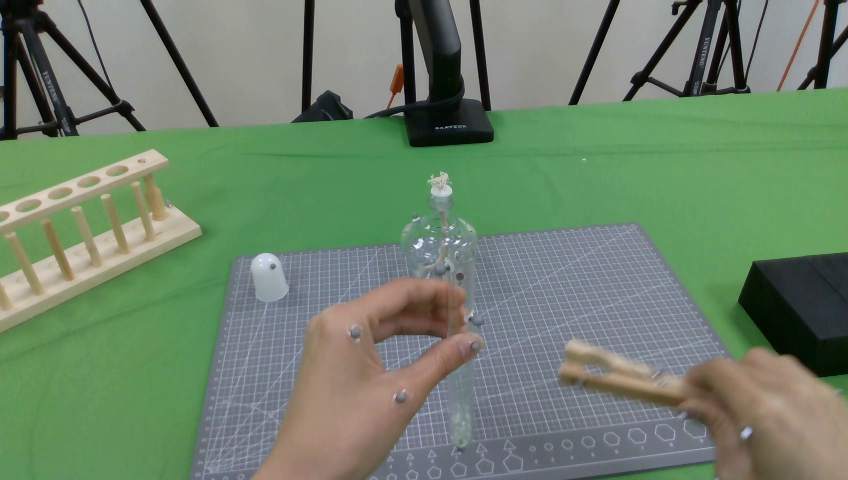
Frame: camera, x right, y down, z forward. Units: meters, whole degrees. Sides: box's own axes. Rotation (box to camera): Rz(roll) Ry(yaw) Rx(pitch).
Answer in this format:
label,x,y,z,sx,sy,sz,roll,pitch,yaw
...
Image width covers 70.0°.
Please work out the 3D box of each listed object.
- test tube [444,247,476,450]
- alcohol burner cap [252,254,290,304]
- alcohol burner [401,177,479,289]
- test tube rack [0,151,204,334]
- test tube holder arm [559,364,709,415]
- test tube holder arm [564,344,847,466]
label,x,y,z,sx,sy,sz,roll,pitch,yaw
test tube,0.021,0.068,0.343,0.017,0.151,0.017,-2,35,2
alcohol burner cap,-0.150,0.035,0.589,0.034,0.048,0.033,0,38,0
alcohol burner,0.016,-0.011,0.588,0.078,0.120,0.077,1,39,0
test tube rack,-0.354,0.001,0.604,0.066,0.086,0.242,30,47,34
test tube holder arm,0.128,0.093,0.374,0.087,0.015,0.010,8,46,14
test tube holder arm,0.172,0.099,0.364,0.177,0.015,0.013,17,49,21
